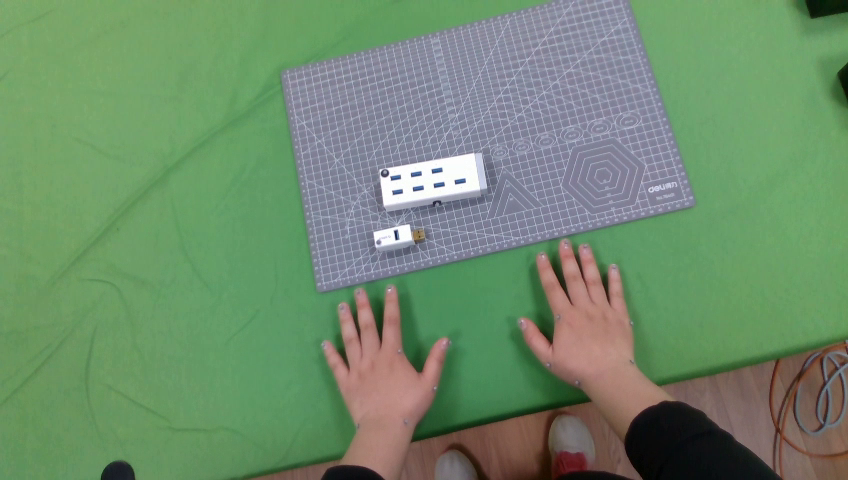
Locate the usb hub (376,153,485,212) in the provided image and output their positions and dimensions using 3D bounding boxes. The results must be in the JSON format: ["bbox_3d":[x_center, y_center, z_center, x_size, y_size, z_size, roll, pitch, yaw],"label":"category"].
[{"bbox_3d":[0.008,-0.069,0.721,0.125,0.025,0.049,-9,75,4],"label":"usb hub"}]

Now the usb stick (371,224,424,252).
[{"bbox_3d":[-0.030,-0.003,0.709,0.059,0.027,0.021,-11,76,2],"label":"usb stick"}]
